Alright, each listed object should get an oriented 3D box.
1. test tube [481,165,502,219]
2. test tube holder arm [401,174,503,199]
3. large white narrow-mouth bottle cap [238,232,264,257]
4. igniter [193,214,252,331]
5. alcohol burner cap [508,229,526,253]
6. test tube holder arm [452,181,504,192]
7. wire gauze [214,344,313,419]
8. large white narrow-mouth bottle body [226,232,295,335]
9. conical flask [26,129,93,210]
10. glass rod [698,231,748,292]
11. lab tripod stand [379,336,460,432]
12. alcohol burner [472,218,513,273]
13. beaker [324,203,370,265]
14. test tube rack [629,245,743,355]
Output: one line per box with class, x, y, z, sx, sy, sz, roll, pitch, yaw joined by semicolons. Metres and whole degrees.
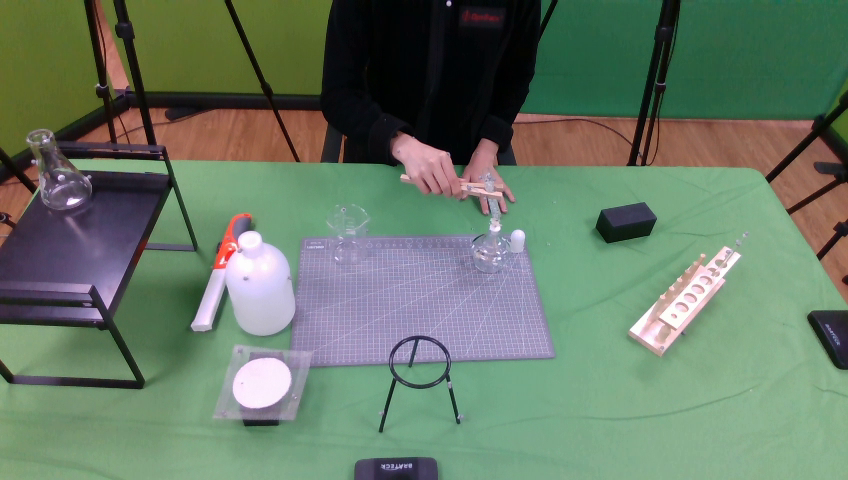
test tube;0.115;-0.077;1.022;0.017;0.151;0.017;-7;60;12
test tube holder arm;0.046;-0.092;1.024;0.178;0.015;0.013;10;63;13
large white narrow-mouth bottle cap;-0.266;0.007;0.933;0.038;0.024;0.037;2;46;-2
igniter;-0.368;0.050;1.119;0.057;0.025;0.275;-3;46;8
alcohol burner cap;0.185;-0.002;1.192;0.034;0.048;0.033;3;44;-2
test tube holder arm;0.090;-0.091;1.016;0.088;0.015;0.010;3;62;10
wire gauze;-0.241;0.213;0.915;0.121;0.011;0.124;5;46;1
large white narrow-mouth bottle body;-0.270;0.065;0.995;0.102;0.195;0.101;2;46;-2
conical flask;-0.575;-0.113;0.946;0.075;0.122;0.075;2;46;-2
glass rod;0.514;0.044;1.051;0.008;0.200;0.008;1;55;-1
lab tripod stand;-0.011;0.214;0.911;0.148;0.132;0.147;1;45;0
alcohol burner;0.128;0.005;1.132;0.078;0.120;0.077;0;47;0
beaker;-0.142;-0.009;1.137;0.084;0.101;0.073;-3;47;-7
test tube rack;0.474;0.095;1.091;0.242;0.085;0.066;-34;56;-31
